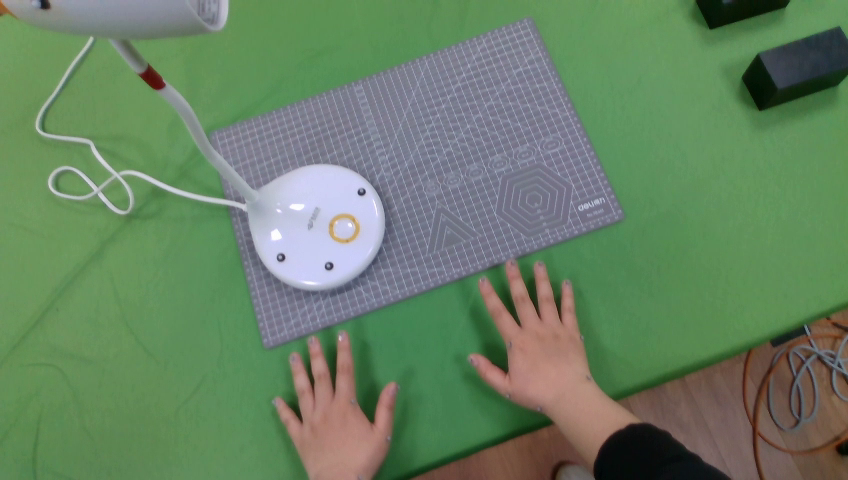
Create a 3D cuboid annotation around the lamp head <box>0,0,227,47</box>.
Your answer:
[{"bbox_3d":[-0.192,-0.166,0.360,0.123,0.113,0.111,-13,72,8],"label":"lamp head"}]

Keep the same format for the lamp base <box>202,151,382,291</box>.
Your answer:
[{"bbox_3d":[-0.151,-0.041,0.661,0.179,0.181,0.160,6,74,11],"label":"lamp base"}]
